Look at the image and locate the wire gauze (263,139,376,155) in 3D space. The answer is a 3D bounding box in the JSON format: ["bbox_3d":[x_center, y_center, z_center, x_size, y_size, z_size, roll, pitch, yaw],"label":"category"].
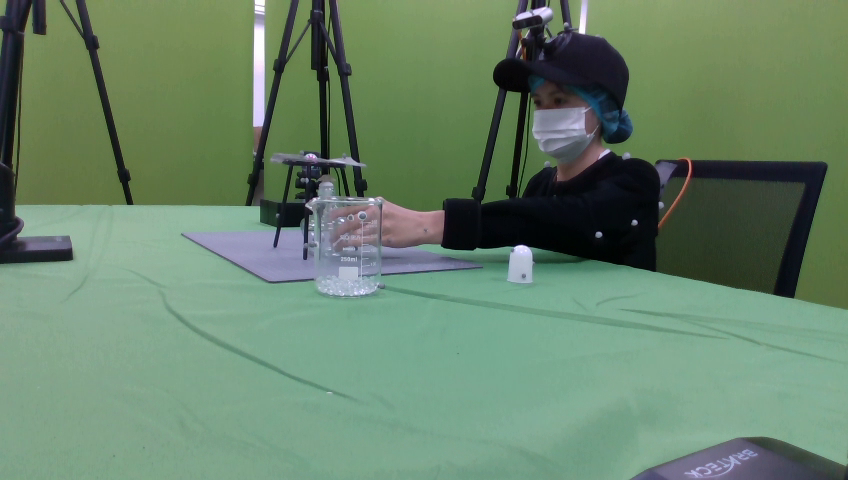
[{"bbox_3d":[-0.151,-0.130,0.869,0.122,0.011,0.124,-8,5,-35],"label":"wire gauze"}]

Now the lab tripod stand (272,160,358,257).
[{"bbox_3d":[-0.159,-0.048,0.876,0.148,0.131,0.148,3,5,0],"label":"lab tripod stand"}]

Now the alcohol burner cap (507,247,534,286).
[{"bbox_3d":[0.119,0.032,0.740,0.034,0.048,0.034,1,7,0],"label":"alcohol burner cap"}]

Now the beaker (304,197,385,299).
[{"bbox_3d":[-0.083,0.007,0.629,0.084,0.100,0.073,-1,7,-21],"label":"beaker"}]

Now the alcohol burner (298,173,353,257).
[{"bbox_3d":[-0.141,-0.036,0.864,0.078,0.119,0.078,-1,6,0],"label":"alcohol burner"}]
